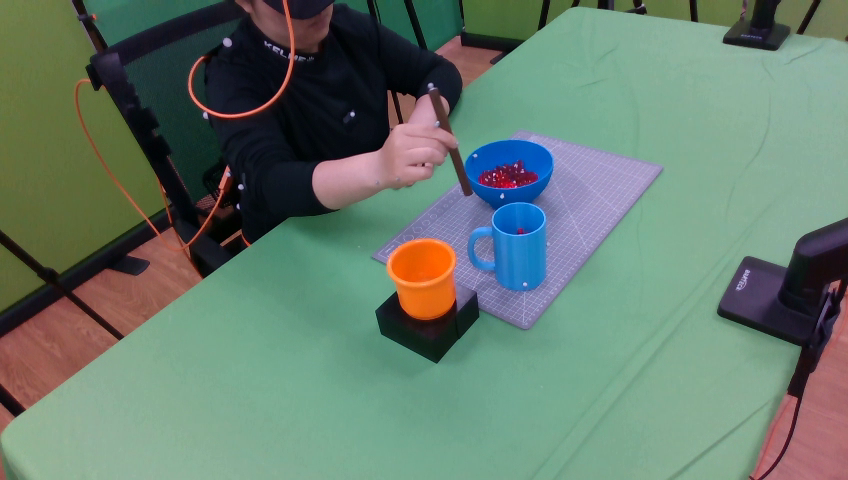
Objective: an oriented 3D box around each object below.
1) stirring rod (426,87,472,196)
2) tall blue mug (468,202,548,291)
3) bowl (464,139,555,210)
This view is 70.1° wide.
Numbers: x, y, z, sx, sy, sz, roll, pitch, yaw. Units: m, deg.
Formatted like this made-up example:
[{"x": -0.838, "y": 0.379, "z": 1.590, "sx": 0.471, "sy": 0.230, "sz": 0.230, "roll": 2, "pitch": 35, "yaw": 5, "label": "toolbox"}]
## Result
[{"x": 0.036, "y": -0.125, "z": 0.799, "sx": 0.014, "sy": 0.177, "sz": 0.006, "roll": -20, "pitch": 41, "yaw": 4, "label": "stirring rod"}, {"x": 0.125, "y": 0.015, "z": 0.869, "sx": 0.107, "sy": 0.108, "sz": 0.077, "roll": -21, "pitch": 42, "yaw": -14, "label": "tall blue mug"}, {"x": 0.145, "y": -0.100, "z": 1.025, "sx": 0.151, "sy": 0.077, "sz": 0.150, "roll": -5, "pitch": 40, "yaw": 5, "label": "bowl"}]
